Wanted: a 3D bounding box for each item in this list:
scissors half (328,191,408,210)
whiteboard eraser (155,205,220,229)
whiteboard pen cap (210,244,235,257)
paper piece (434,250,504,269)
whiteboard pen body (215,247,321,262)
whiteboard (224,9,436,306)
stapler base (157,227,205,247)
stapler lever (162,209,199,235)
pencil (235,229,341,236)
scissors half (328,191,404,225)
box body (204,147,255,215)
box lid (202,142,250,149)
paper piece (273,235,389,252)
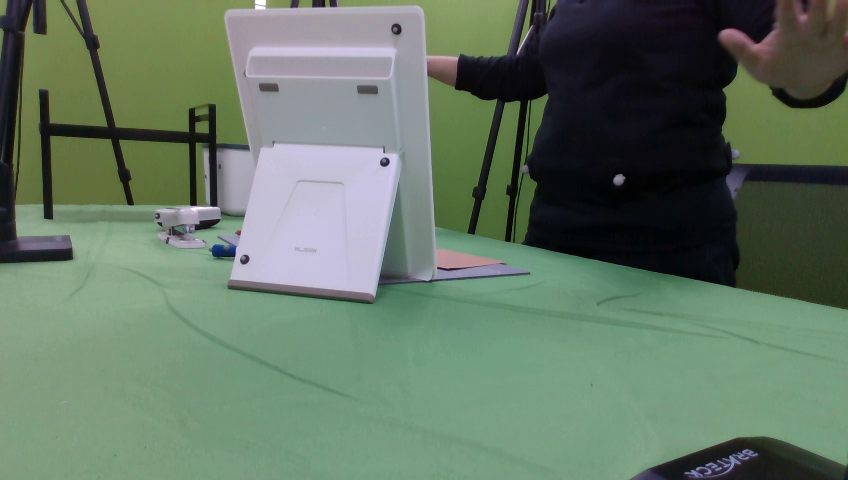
[{"bbox_3d":[-0.122,-0.092,1.317,0.175,0.040,0.013,6,12,-3],"label":"scissors half"},{"bbox_3d":[-0.428,-0.041,1.100,0.055,0.042,0.113,7,8,19],"label":"whiteboard eraser"},{"bbox_3d":[-0.266,0.015,0.806,0.033,0.018,0.018,2,7,-1],"label":"whiteboard pen cap"},{"bbox_3d":[0.025,0.027,0.865,0.134,0.004,0.136,9,9,43],"label":"paper piece"},{"bbox_3d":[-0.208,0.018,0.805,0.141,0.017,0.017,2,7,1],"label":"whiteboard pen body"},{"bbox_3d":[-0.117,-0.065,0.617,0.217,0.305,0.144,5,29,16],"label":"whiteboard"},{"bbox_3d":[-0.376,-0.007,0.935,0.041,0.024,0.130,1,5,-38],"label":"stapler base"},{"bbox_3d":[-0.376,-0.031,0.933,0.027,0.040,0.117,1,7,-38],"label":"stapler lever"},{"bbox_3d":[-0.232,-0.012,1.053,0.195,0.012,0.012,0,8,-36],"label":"pencil"},{"bbox_3d":[-0.127,-0.072,1.321,0.175,0.040,0.013,22,5,-5],"label":"scissors half"},{"bbox_3d":[-0.347,-0.152,1.519,0.366,0.160,0.253,-2,9,-31],"label":"box body"},{"bbox_3d":[-0.344,-0.225,1.509,0.373,0.015,0.262,-2,8,-31],"label":"box lid"},{"bbox_3d":[-0.151,0.003,0.978,0.135,0.008,0.139,13,10,35],"label":"paper piece"}]
